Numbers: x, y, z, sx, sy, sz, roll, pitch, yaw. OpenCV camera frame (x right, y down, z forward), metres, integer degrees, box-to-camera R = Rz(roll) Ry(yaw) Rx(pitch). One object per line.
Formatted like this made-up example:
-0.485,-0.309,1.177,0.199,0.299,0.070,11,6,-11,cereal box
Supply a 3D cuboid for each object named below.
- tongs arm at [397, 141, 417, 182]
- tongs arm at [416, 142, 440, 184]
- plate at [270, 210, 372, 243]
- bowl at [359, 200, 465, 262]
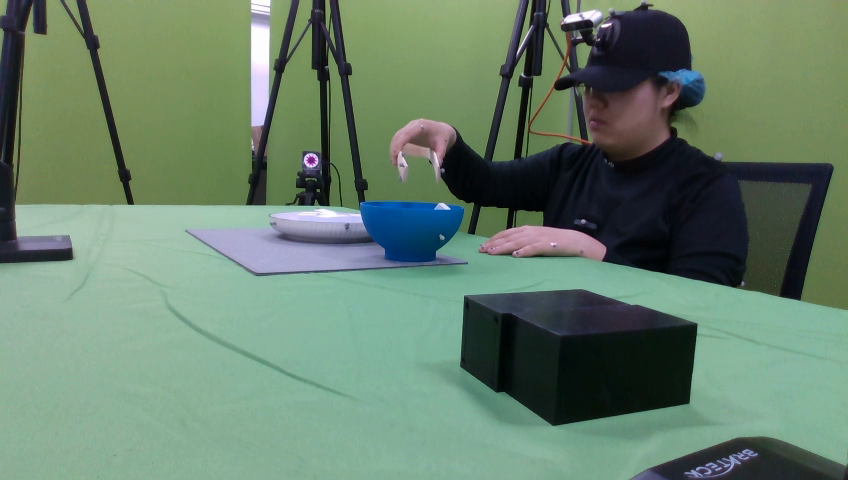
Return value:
-0.022,-0.139,1.029,0.051,0.026,0.384,2,14,-6,tongs arm
0.007,-0.137,1.031,0.028,0.028,0.387,-1,14,-3,tongs arm
-0.161,-0.023,1.054,0.208,0.039,0.207,2,7,0,plate
-0.018,-0.013,0.859,0.151,0.077,0.151,2,7,0,bowl
